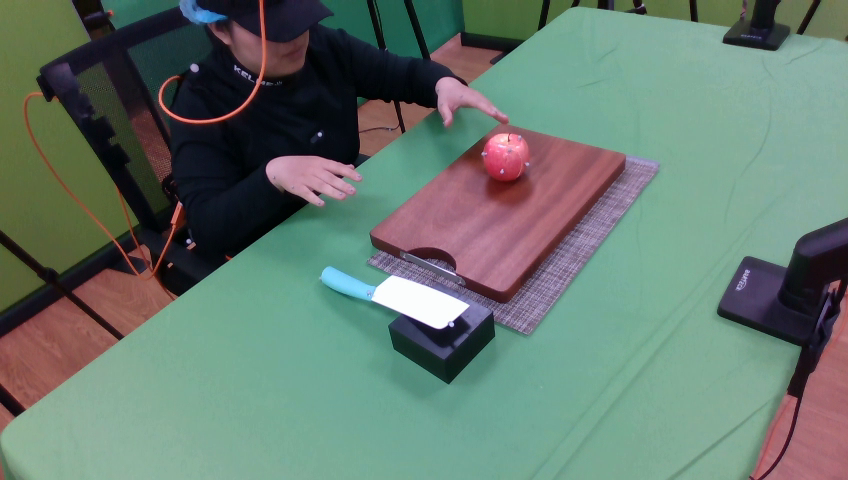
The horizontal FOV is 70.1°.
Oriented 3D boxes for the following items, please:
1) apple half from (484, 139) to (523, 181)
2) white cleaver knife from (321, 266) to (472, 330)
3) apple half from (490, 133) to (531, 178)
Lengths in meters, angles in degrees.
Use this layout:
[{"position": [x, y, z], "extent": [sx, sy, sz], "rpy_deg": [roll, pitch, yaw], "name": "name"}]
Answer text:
[{"position": [0.128, -0.129, 1.029], "extent": [0.080, 0.081, 0.033], "rpy_deg": [22, 45, 32], "name": "apple half"}, {"position": [-0.049, 0.075, 0.867], "extent": [0.284, 0.021, 0.066], "rpy_deg": [16, 42, 43], "name": "white cleaver knife"}, {"position": [0.153, -0.150, 1.051], "extent": [0.080, 0.075, 0.053], "rpy_deg": [21, 44, 34], "name": "apple half"}]
